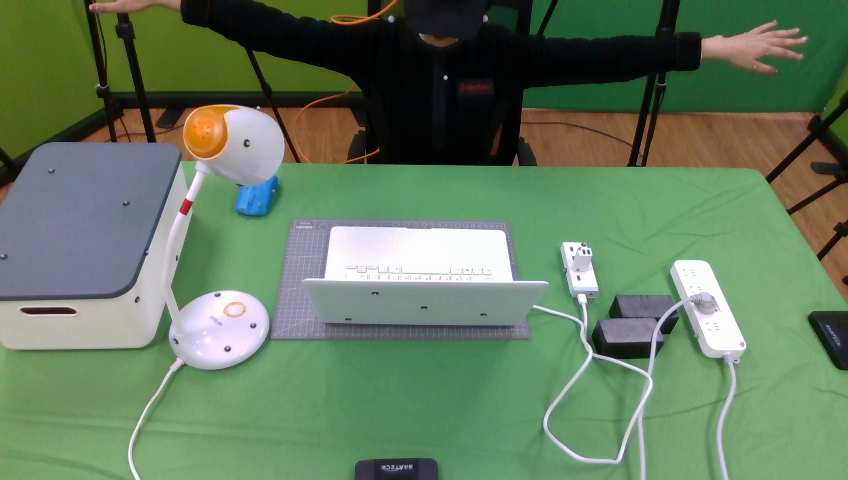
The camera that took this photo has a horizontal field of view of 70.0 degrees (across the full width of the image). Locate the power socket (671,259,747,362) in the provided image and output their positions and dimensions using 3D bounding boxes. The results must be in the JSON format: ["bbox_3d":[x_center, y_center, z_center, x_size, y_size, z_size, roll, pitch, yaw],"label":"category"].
[{"bbox_3d":[0.516,0.119,1.108,0.072,0.033,0.225,0,46,-2],"label":"power socket"}]

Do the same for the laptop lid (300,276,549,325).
[{"bbox_3d":[-0.002,0.100,0.947,0.357,0.242,0.013,1,67,-4],"label":"laptop lid"}]

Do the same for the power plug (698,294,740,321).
[{"bbox_3d":[0.515,0.127,1.070,0.035,0.053,0.072,-18,56,-7],"label":"power plug"}]

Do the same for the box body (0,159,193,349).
[{"bbox_3d":[-0.570,0.006,1.054,0.254,0.161,0.361,-1,46,-4],"label":"box body"}]

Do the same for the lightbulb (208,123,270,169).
[{"bbox_3d":[-0.261,-0.136,0.848,0.059,0.108,0.059,-4,77,21],"label":"lightbulb"}]

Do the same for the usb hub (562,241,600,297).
[{"bbox_3d":[0.300,0.055,1.162,0.049,0.025,0.124,2,46,-3],"label":"usb hub"}]

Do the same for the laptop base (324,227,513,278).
[{"bbox_3d":[-0.009,0.062,1.137,0.354,0.023,0.234,1,42,-3],"label":"laptop base"}]

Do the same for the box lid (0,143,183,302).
[{"bbox_3d":[-0.567,-0.045,0.999,0.263,0.015,0.369,-1,46,-4],"label":"box lid"}]

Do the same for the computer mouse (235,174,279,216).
[{"bbox_3d":[-0.346,-0.098,1.258,0.063,0.041,0.116,8,50,2],"label":"computer mouse"}]

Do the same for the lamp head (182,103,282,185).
[{"bbox_3d":[-0.271,-0.133,0.825,0.112,0.112,0.123,20,8,15],"label":"lamp head"}]

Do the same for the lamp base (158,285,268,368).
[{"bbox_3d":[-0.348,0.102,0.963,0.160,0.181,0.178,23,51,18],"label":"lamp base"}]

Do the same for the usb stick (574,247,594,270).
[{"bbox_3d":[0.298,0.040,1.135,0.027,0.059,0.021,2,46,-4],"label":"usb stick"}]
